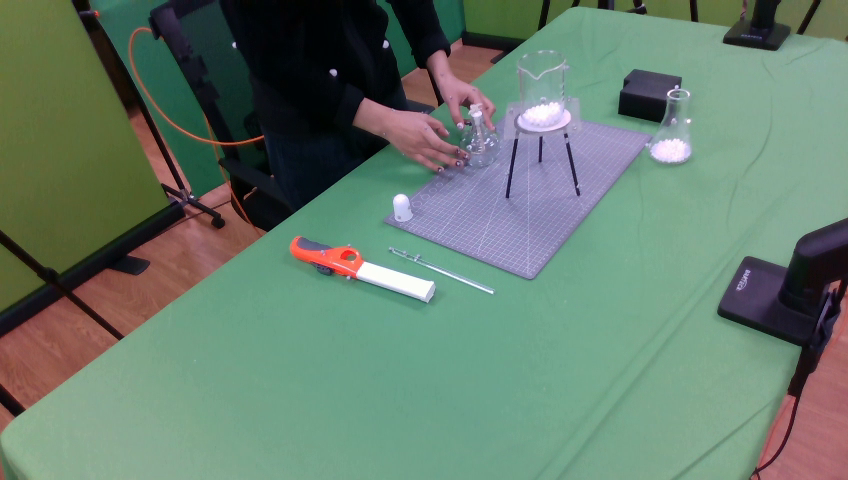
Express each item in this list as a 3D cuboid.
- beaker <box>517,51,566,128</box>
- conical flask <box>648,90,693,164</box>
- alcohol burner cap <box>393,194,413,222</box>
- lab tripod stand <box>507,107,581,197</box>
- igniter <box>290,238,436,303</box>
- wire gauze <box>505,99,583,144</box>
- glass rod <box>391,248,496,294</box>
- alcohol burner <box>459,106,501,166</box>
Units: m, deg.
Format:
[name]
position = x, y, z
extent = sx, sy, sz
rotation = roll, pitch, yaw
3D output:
[beaker]
position = 0.187, -0.235, 0.957
extent = 0.073, 0.101, 0.084
rotation = 4, 42, 18
[conical flask]
position = 0.437, -0.199, 1.057
extent = 0.075, 0.122, 0.075
rotation = -5, 40, 5
[alcohol burner cap]
position = -0.038, -0.057, 1.038
extent = 0.034, 0.048, 0.033
rotation = -5, 41, 5
[lab tripod stand]
position = 0.201, -0.151, 1.033
extent = 0.148, 0.132, 0.147
rotation = -7, 39, 6
[igniter]
position = -0.106, 0.044, 0.949
extent = 0.274, 0.025, 0.057
rotation = 16, 57, 27
[wire gauze]
position = 0.195, -0.199, 0.988
extent = 0.121, 0.011, 0.124
rotation = -3, 41, 13
[glass rod]
position = 0.026, 0.046, 0.937
extent = 0.198, 0.008, 0.008
rotation = 21, 49, 31
[alcohol burner]
position = 0.103, -0.198, 1.123
extent = 0.078, 0.119, 0.077
rotation = -6, 42, 5
